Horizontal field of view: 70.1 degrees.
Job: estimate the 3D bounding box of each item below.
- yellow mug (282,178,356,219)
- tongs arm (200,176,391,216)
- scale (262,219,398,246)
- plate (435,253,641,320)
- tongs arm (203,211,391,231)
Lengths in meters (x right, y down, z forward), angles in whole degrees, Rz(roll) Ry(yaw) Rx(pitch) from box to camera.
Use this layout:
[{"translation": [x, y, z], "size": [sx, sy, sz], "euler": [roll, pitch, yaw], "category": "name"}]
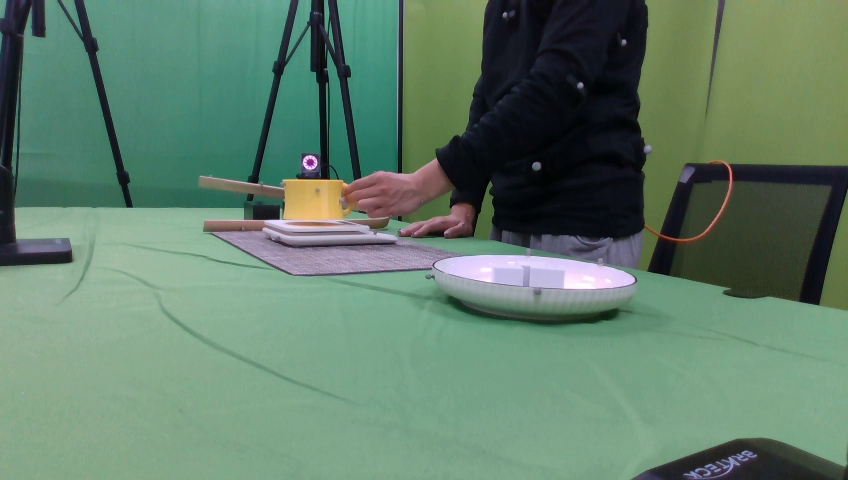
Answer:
[{"translation": [-0.171, -0.069, 1.009], "size": [0.131, 0.064, 0.099], "euler": [-3, 6, -39], "category": "yellow mug"}, {"translation": [-0.258, -0.084, 1.245], "size": [0.387, 0.026, 0.050], "euler": [6, 32, -22], "category": "tongs arm"}, {"translation": [-0.160, -0.016, 1.028], "size": [0.202, 0.031, 0.148], "euler": [-2, 8, -31], "category": "scale"}, {"translation": [0.114, 0.047, 0.626], "size": [0.208, 0.039, 0.207], "euler": [2, 7, 0], "category": "plate"}, {"translation": [-0.231, -0.036, 1.185], "size": [0.390, 0.028, 0.028], "euler": [-3, 33, -33], "category": "tongs arm"}]
